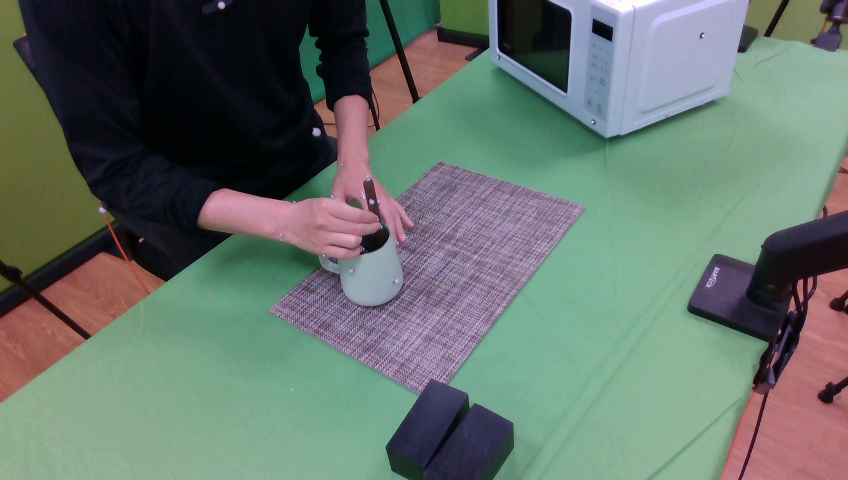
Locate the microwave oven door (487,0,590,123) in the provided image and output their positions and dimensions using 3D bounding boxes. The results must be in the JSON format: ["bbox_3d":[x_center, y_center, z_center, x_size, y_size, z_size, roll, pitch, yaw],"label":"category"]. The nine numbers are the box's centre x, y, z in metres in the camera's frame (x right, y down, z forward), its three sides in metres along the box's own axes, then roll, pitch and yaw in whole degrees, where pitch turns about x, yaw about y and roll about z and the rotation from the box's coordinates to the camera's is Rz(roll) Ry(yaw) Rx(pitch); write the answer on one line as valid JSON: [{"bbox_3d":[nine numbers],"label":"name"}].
[{"bbox_3d":[0.232,-0.420,1.230,0.039,0.245,0.352,-22,43,-16],"label":"microwave oven door"}]

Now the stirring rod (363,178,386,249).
[{"bbox_3d":[-0.063,-0.015,0.829,0.014,0.177,0.005,-27,48,-18],"label":"stirring rod"}]

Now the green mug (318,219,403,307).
[{"bbox_3d":[-0.095,0.032,0.876,0.125,0.105,0.092,8,43,17],"label":"green mug"}]

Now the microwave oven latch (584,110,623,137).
[{"bbox_3d":[0.337,-0.222,1.142,0.030,0.029,0.078,-21,42,-14],"label":"microwave oven latch"}]

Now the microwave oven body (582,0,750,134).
[{"bbox_3d":[0.382,-0.445,1.246,0.327,0.261,0.437,-22,42,-16],"label":"microwave oven body"}]
